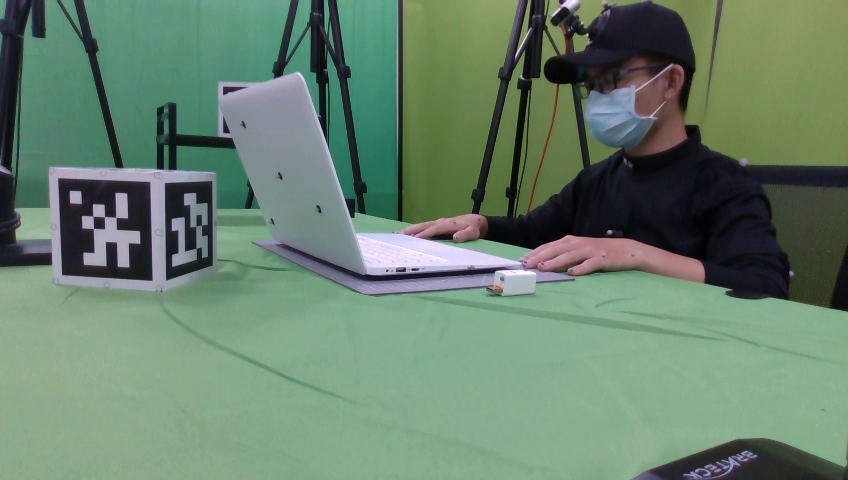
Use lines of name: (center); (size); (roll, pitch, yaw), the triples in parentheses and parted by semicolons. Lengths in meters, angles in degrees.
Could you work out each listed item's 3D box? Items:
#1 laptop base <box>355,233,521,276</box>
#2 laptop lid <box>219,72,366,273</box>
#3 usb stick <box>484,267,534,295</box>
laptop base: (-0.056, 0.018, 0.898); (0.237, 0.023, 0.352); (2, 6, -32)
laptop lid: (-0.189, -0.087, 0.800); (0.013, 0.242, 0.355); (-26, 21, -26)
usb stick: (0.093, 0.046, 0.673); (0.059, 0.027, 0.021); (-5, 14, -30)
